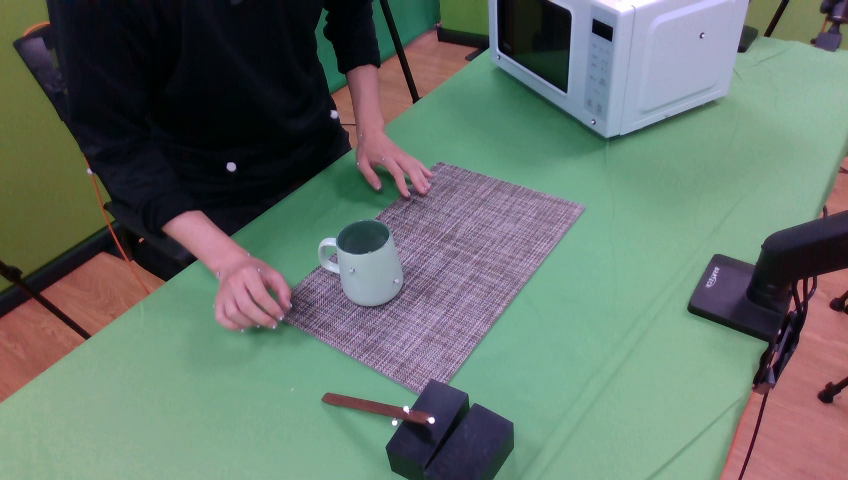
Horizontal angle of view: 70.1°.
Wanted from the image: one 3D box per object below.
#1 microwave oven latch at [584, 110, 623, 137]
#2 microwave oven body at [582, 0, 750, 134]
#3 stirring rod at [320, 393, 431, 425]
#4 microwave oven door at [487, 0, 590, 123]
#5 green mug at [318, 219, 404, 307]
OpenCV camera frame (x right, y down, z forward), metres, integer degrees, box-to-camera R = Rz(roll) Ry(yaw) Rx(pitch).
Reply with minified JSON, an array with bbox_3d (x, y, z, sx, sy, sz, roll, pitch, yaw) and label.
[{"bbox_3d":[0.337,-0.222,1.142,0.030,0.029,0.078,-21,42,-14],"label":"microwave oven latch"},{"bbox_3d":[0.382,-0.445,1.246,0.327,0.261,0.437,-22,42,-16],"label":"microwave oven body"},{"bbox_3d":[-0.061,0.198,0.712,0.175,0.006,0.014,-2,37,39],"label":"stirring rod"},{"bbox_3d":[0.232,-0.420,1.230,0.039,0.245,0.352,-22,43,-16],"label":"microwave oven door"},{"bbox_3d":[-0.096,0.032,0.876,0.125,0.105,0.092,8,43,17],"label":"green mug"}]
